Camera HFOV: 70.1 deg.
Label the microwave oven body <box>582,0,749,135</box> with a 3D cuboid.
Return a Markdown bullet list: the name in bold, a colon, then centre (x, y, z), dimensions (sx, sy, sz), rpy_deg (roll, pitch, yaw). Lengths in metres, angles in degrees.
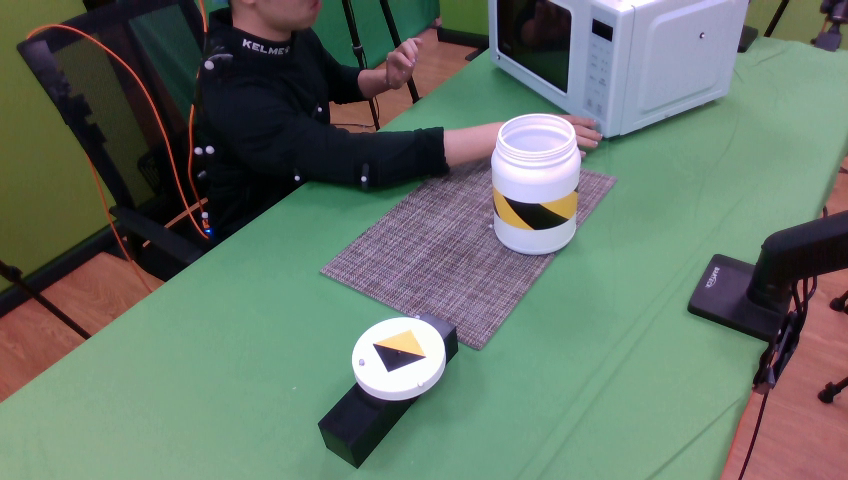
- **microwave oven body**: centre (0.382, -0.444, 1.246), dimensions (0.327, 0.261, 0.437), rpy_deg (-22, 42, -16)

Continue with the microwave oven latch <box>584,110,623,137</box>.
- **microwave oven latch**: centre (0.337, -0.222, 1.142), dimensions (0.030, 0.029, 0.078), rpy_deg (-21, 42, -15)

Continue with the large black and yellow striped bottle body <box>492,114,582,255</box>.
- **large black and yellow striped bottle body**: centre (0.169, -0.083, 0.912), dimensions (0.131, 0.185, 0.130), rpy_deg (-4, 41, 4)

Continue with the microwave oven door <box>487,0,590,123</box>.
- **microwave oven door**: centre (0.231, -0.420, 1.230), dimensions (0.039, 0.245, 0.352), rpy_deg (-22, 43, -16)

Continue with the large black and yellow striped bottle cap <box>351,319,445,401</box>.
- **large black and yellow striped bottle cap**: centre (-0.031, 0.143, 0.735), dimensions (0.115, 0.019, 0.114), rpy_deg (-3, 40, 3)
